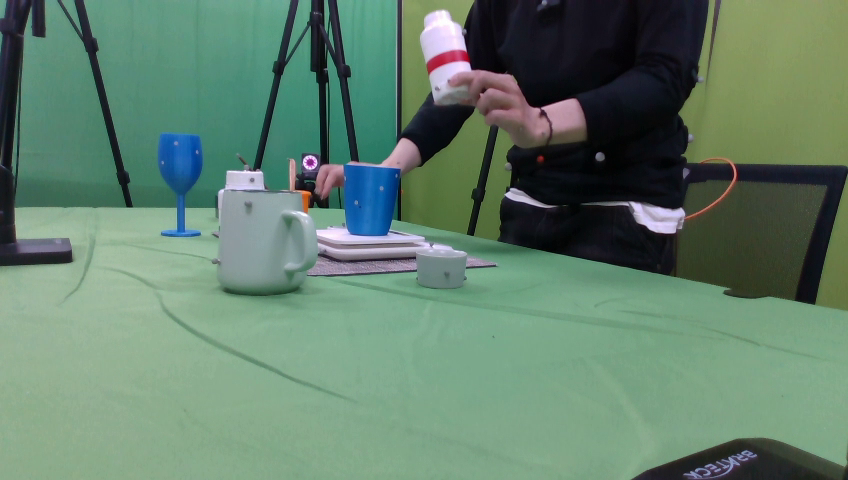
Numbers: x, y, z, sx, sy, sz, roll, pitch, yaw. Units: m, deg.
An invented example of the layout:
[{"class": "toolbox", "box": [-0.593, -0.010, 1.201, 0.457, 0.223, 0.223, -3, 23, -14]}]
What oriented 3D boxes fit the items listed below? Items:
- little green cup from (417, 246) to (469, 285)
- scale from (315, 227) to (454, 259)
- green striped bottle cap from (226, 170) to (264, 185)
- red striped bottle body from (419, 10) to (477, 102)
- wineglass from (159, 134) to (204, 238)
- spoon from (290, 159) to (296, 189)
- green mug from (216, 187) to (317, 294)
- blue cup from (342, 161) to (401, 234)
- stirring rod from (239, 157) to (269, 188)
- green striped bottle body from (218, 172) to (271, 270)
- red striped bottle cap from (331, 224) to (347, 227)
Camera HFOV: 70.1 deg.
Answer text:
[{"class": "little green cup", "box": [0.021, 0.029, 0.701, 0.061, 0.038, 0.061, 1, 6, 0]}, {"class": "scale", "box": [-0.066, 0.001, 0.906, 0.202, 0.031, 0.148, -2, 8, -31]}, {"class": "green striped bottle cap", "box": [-0.222, -0.076, 0.748, 0.044, 0.020, 0.044, 0, 7, 0]}, {"class": "red striped bottle body", "box": [0.031, -0.264, 0.864, 0.063, 0.119, 0.063, -15, -5, -1]}, {"class": "wineglass", "box": [-0.415, -0.093, 1.040, 0.074, 0.172, 0.073, 2, 7, 0]}, {"class": "spoon", "box": [-0.273, -0.102, 1.252, 0.042, 0.193, 0.021, 8, -39, -18]}, {"class": "green mug", "box": [-0.157, 0.000, 0.629, 0.124, 0.105, 0.093, 7, 9, 37]}, {"class": "blue cup", "box": [-0.079, -0.061, 0.882, 0.093, 0.100, 0.092, 4, 6, 0]}, {"class": "stirring rod", "box": [-0.309, -0.098, 1.209, 0.006, 0.177, 0.014, -39, 29, -4]}, {"class": "green striped bottle body", "box": [-0.223, -0.025, 0.755, 0.063, 0.119, 0.063, 2, 7, 0]}, {"class": "red striped bottle cap", "box": [-0.150, -0.018, 1.092, 0.044, 0.017, 0.044, -10, -3, 0]}]
